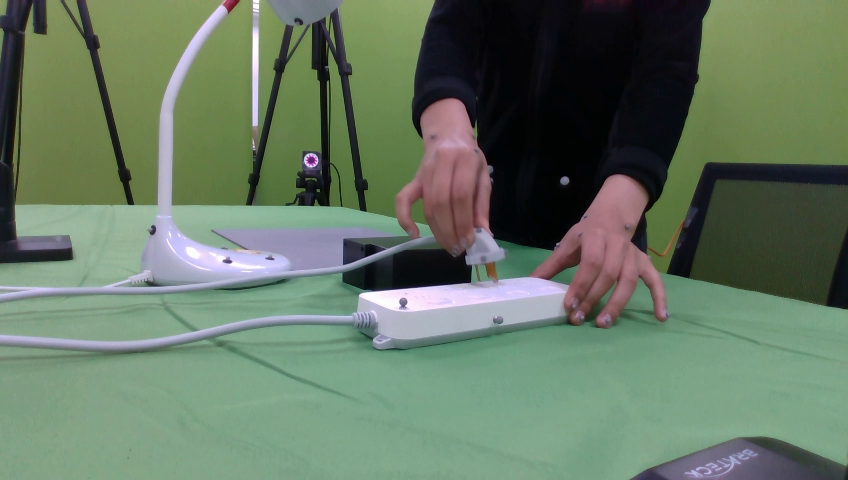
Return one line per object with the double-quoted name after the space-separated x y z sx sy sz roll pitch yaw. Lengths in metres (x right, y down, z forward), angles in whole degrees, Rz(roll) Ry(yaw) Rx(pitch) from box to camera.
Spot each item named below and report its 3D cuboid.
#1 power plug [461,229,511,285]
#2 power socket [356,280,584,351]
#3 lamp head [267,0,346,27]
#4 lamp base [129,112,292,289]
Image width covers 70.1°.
0.050 0.020 0.523 0.035 0.052 0.073 -30 -2 37 "power plug"
0.046 0.060 0.521 0.228 0.032 0.072 -2 8 -35 "power socket"
-0.157 -0.326 0.701 0.112 0.112 0.123 6 -16 26 "lamp head"
-0.233 -0.045 0.658 0.160 0.180 0.180 7 10 29 "lamp base"
